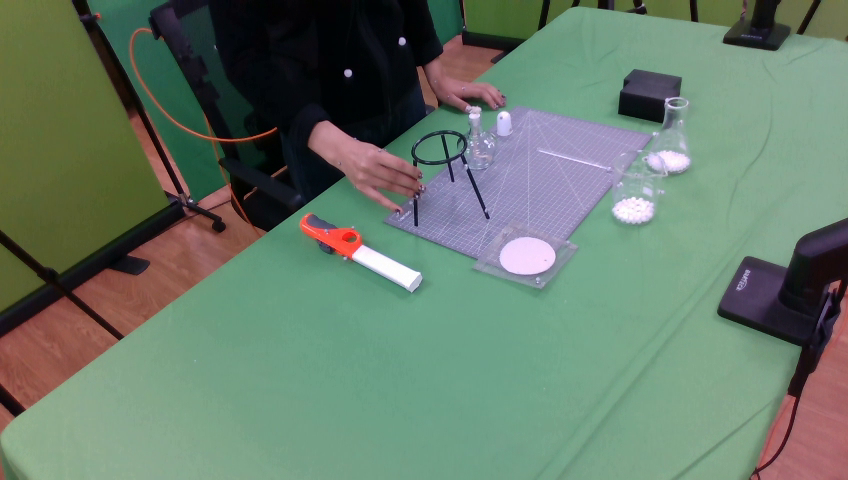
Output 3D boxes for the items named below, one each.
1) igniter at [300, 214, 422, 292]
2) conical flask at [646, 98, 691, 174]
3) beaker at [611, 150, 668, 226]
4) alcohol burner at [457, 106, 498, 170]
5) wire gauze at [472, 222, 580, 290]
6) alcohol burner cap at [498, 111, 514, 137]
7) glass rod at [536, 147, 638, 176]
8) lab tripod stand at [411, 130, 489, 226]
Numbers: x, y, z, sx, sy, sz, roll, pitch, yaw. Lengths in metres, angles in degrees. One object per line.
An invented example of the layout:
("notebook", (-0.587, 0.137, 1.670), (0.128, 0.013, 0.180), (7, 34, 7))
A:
("igniter", (-0.113, 0.016, 0.983), (0.274, 0.025, 0.057), (26, 62, 35))
("conical flask", (0.426, -0.180, 1.037), (0.075, 0.122, 0.075), (-5, 40, 5))
("beaker", (0.337, -0.079, 0.953), (0.083, 0.101, 0.074), (25, 51, 33))
("alcohol burner", (0.097, -0.191, 1.117), (0.078, 0.119, 0.077), (-7, 39, 6))
("wire gauze", (0.158, 0.024, 0.933), (0.120, 0.011, 0.125), (21, 49, 31))
("alcohol burner cap", (0.163, -0.235, 1.211), (0.034, 0.048, 0.033), (-6, 40, 6))
("glass rod", (0.294, -0.145, 1.104), (0.198, 0.008, 0.008), (22, 50, 31))
("lab tripod stand", (0.035, -0.104, 0.986), (0.148, 0.132, 0.147), (-9, 42, 8))
